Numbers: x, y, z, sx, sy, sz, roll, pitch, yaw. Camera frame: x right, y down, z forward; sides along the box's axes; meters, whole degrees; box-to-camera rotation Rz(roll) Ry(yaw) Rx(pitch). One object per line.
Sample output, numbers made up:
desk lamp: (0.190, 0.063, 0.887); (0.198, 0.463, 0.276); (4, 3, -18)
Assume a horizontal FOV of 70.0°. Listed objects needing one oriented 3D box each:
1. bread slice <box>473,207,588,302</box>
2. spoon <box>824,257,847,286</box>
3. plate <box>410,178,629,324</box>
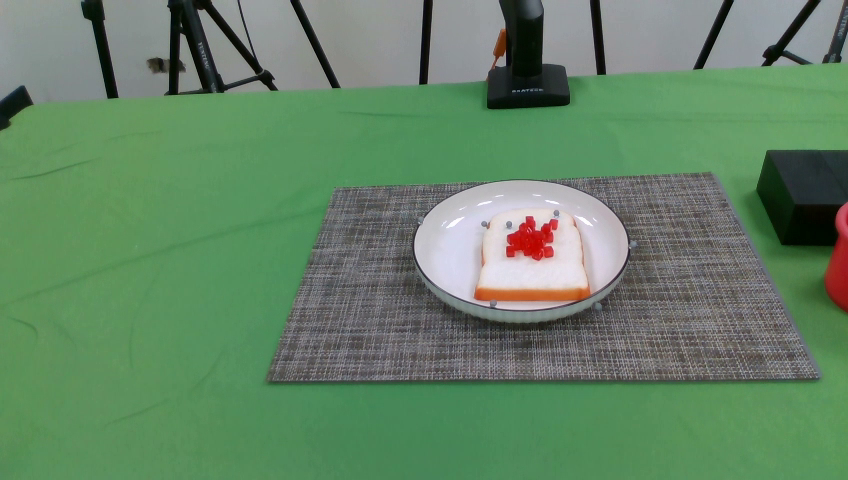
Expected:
bread slice: (0.104, 0.010, 0.598); (0.105, 0.019, 0.130); (0, 40, 8)
spoon: (0.426, -0.003, 0.482); (0.022, 0.194, 0.041); (47, 46, -8)
plate: (0.091, 0.010, 0.598); (0.209, 0.038, 0.207); (-4, 38, 4)
